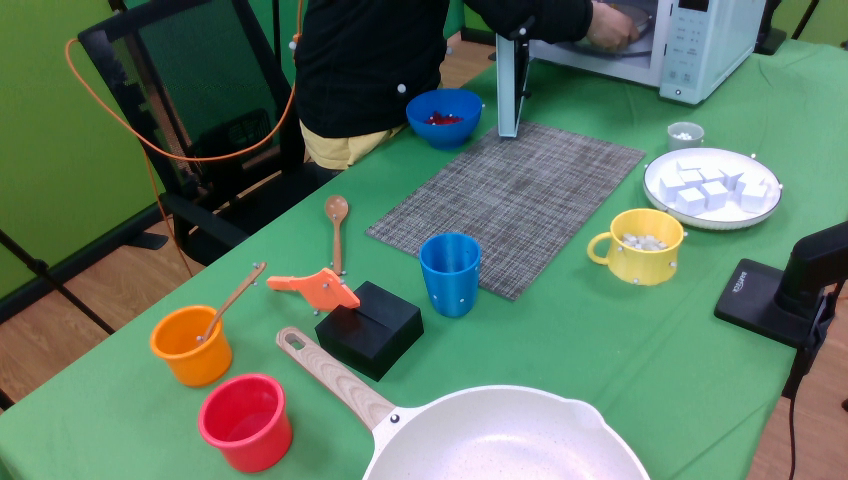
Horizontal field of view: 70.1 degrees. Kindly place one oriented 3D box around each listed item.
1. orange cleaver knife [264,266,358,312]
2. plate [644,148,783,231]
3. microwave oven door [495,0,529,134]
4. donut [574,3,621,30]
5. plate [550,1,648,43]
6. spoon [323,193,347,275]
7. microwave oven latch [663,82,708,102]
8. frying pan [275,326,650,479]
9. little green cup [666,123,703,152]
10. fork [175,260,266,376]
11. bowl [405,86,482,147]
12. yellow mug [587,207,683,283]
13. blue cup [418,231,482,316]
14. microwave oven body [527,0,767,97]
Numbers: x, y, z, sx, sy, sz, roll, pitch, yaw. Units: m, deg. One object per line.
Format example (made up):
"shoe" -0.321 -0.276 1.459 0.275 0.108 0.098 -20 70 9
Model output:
"orange cleaver knife" -0.165 0.073 0.864 0.210 0.077 0.012 -6 31 49
"plate" 0.465 -0.080 0.986 0.207 0.039 0.206 -4 40 4
"microwave oven door" 0.183 -0.411 1.225 0.039 0.245 0.355 3 42 12
"donut" 0.380 -0.481 1.323 0.099 0.048 0.098 -8 45 9
"plate" 0.383 -0.478 1.333 0.209 0.038 0.208 -4 37 4
"spoon" -0.148 -0.014 1.008 0.042 0.021 0.192 5 39 -13
"microwave oven latch" 0.518 -0.298 1.202 0.078 0.029 0.030 30 54 36
"frying pan" 0.003 0.229 0.641 0.484 0.103 0.308 34 54 28
"little green cup" 0.472 -0.183 1.102 0.061 0.039 0.061 -5 39 4
"fork" -0.268 0.103 0.792 0.207 0.019 0.028 -51 41 16
"bowl" 0.041 -0.236 1.196 0.151 0.077 0.150 -4 40 4
"yellow mug" 0.305 0.009 0.884 0.131 0.064 0.099 -4 41 5
"blue cup" 0.040 0.053 0.843 0.092 0.100 0.092 -4 43 4
"microwave oven body" 0.473 -0.516 1.313 0.438 0.261 0.327 26 51 34
